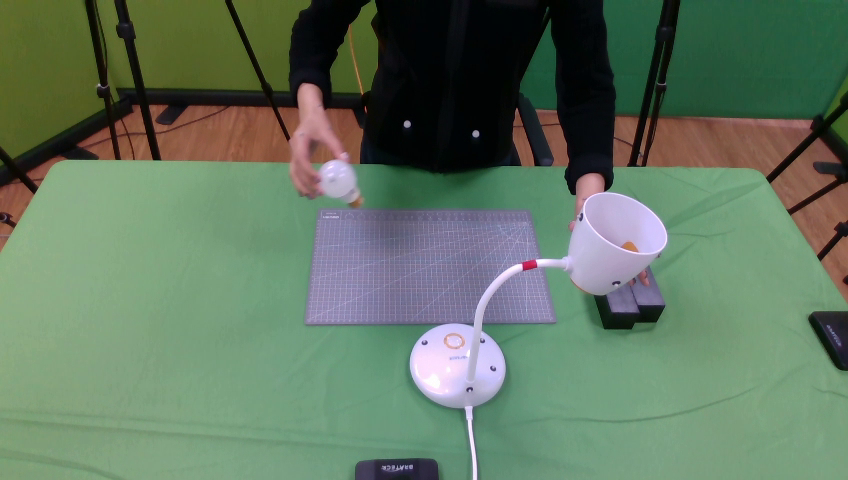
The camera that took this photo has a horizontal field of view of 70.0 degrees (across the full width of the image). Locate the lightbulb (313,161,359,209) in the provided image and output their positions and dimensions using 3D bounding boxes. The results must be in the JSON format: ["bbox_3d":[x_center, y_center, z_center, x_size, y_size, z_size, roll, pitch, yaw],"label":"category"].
[{"bbox_3d":[-0.139,-0.085,0.991,0.059,0.108,0.059,-12,57,19],"label":"lightbulb"}]

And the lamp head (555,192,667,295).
[{"bbox_3d":[0.236,0.015,0.796,0.113,0.123,0.111,14,42,-13],"label":"lamp head"}]

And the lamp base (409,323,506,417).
[{"bbox_3d":[0.063,0.160,0.940,0.161,0.181,0.178,-10,50,-13],"label":"lamp base"}]
